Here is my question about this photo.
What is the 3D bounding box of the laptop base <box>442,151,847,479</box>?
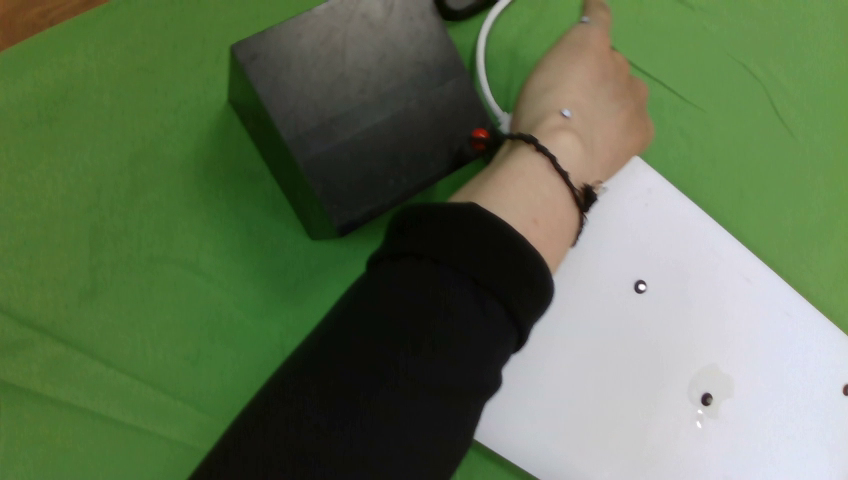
[{"bbox_3d":[0.207,0.122,0.481,0.356,0.023,0.235,35,82,-15],"label":"laptop base"}]

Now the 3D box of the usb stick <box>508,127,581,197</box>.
[{"bbox_3d":[0.089,-0.052,0.424,0.059,0.027,0.021,39,83,-21],"label":"usb stick"}]

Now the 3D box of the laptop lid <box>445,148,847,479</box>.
[{"bbox_3d":[0.211,0.124,0.468,0.359,0.013,0.241,37,81,-16],"label":"laptop lid"}]
